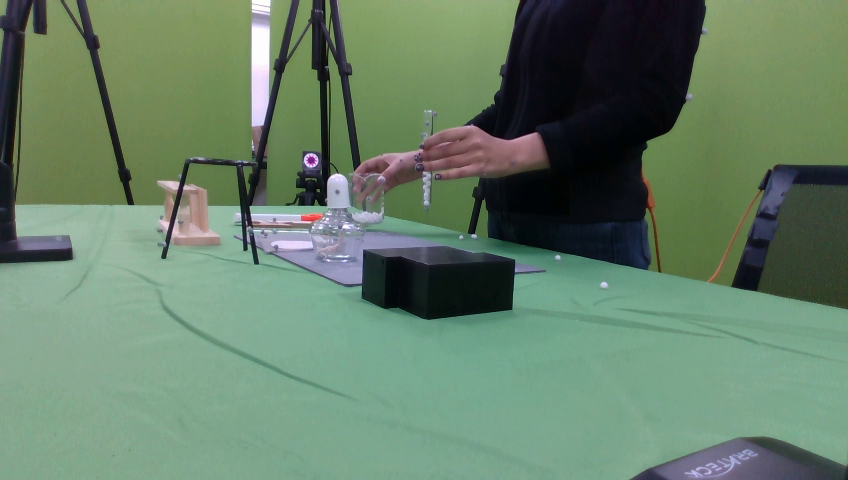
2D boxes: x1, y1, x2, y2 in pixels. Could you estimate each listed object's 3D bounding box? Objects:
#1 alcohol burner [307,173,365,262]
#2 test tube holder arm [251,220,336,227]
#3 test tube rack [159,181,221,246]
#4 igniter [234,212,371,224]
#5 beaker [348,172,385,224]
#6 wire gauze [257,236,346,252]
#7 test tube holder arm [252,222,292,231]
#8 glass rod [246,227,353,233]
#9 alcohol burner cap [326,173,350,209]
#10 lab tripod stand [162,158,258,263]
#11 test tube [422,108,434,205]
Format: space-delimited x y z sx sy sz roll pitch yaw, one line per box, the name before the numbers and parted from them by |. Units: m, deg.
alcohol burner | -0.117 -0.030 0.813 0.078 0.119 0.078 4 9 0
test tube holder arm | -0.254 -0.030 1.156 0.179 0.015 0.013 -2 43 -30
test tube rack | -0.395 -0.050 1.010 0.067 0.085 0.241 -1 8 -28
igniter | -0.246 -0.045 1.248 0.278 0.025 0.057 -1 -2 -25
beaker | -0.114 -0.084 1.197 0.074 0.100 0.084 0 9 -1
wire gauze | -0.190 0.005 0.931 0.122 0.011 0.124 1 7 -21
test tube holder arm | -0.291 -0.026 1.130 0.088 0.015 0.010 -1 43 -29
glass rod | -0.224 -0.017 1.109 0.201 0.008 0.008 1 7 -27
alcohol burner cap | -0.117 -0.065 0.808 0.034 0.048 0.034 -3 10 1
lab tripod stand | -0.265 -0.041 0.802 0.148 0.131 0.148 4 7 0
test tube | 0.006 -0.130 0.945 0.017 0.150 0.017 1 9 0
